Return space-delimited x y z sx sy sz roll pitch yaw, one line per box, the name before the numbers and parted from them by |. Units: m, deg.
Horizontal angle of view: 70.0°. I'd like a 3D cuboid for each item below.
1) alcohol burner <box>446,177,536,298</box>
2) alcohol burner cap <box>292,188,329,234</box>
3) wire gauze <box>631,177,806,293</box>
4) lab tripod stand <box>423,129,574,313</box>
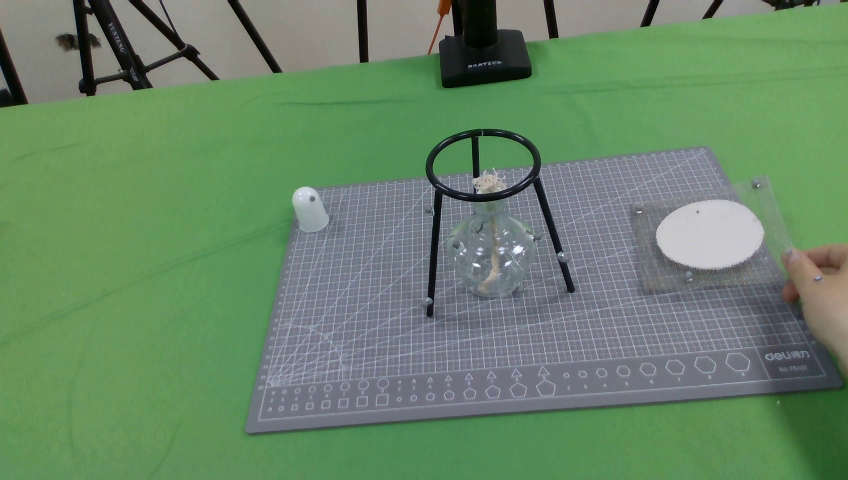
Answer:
alcohol burner | 0.057 -0.006 0.516 0.078 0.120 0.077 -4 44 4
alcohol burner cap | -0.119 -0.033 0.626 0.034 0.048 0.033 -4 45 5
wire gauze | 0.252 -0.004 0.536 0.125 0.011 0.120 -9 44 20
lab tripod stand | 0.056 -0.016 0.511 0.148 0.133 0.147 -4 43 4
